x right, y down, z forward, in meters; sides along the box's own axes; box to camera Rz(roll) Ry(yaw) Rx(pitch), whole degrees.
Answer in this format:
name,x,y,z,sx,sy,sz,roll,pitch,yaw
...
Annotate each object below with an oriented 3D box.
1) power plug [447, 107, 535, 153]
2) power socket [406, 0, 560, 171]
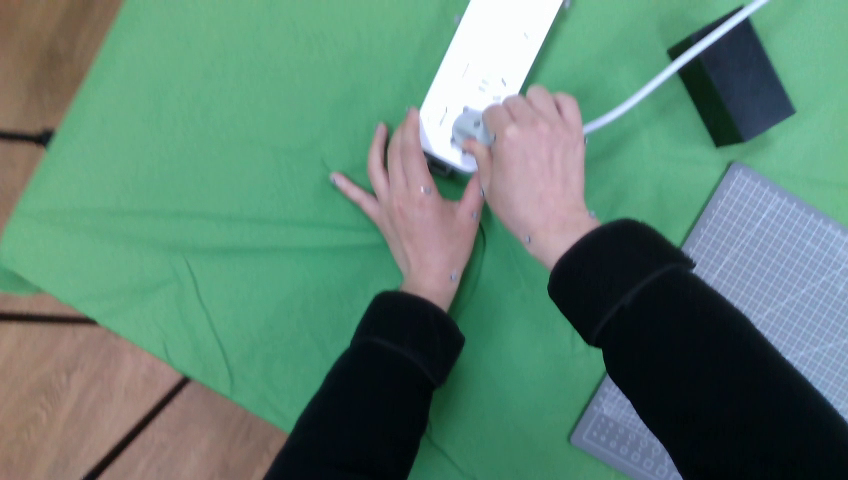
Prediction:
name,x,y,z,sx,sy,sz,roll,pitch,yaw
power plug,0.052,-0.084,0.517,0.073,0.052,0.035,37,93,-6
power socket,0.058,-0.166,0.529,0.072,0.032,0.227,26,93,-4
